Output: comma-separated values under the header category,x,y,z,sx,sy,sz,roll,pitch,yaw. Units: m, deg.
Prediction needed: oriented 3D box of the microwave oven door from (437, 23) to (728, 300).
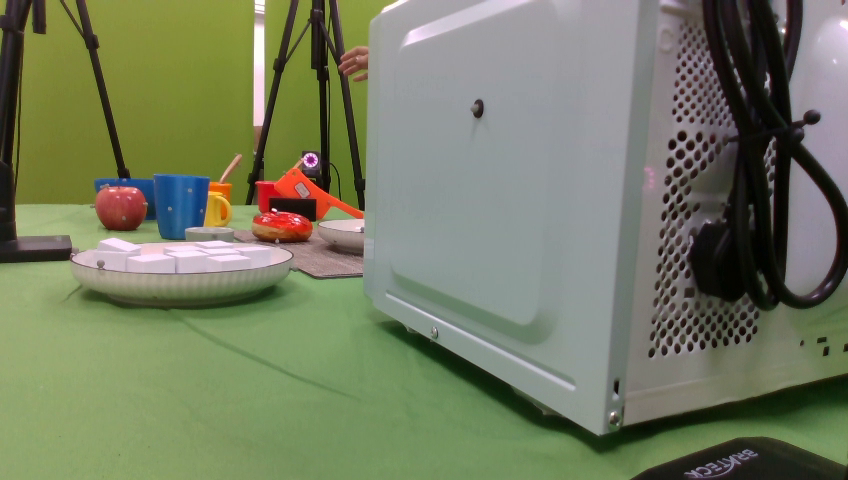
category,x,y,z,sx,sy,sz,roll,pitch,yaw
microwave oven door,0.181,-0.072,0.621,0.358,0.243,0.039,-2,8,-29

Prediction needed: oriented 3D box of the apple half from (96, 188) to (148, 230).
category,x,y,z,sx,sy,sz,roll,pitch,yaw
apple half,-0.517,-0.052,1.036,0.081,0.074,0.053,3,10,-26

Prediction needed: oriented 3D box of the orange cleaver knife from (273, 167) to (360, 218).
category,x,y,z,sx,sy,sz,roll,pitch,yaw
orange cleaver knife,-0.238,-0.091,1.381,0.212,0.077,0.012,31,0,-19

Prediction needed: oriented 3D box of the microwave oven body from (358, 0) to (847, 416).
category,x,y,z,sx,sy,sz,roll,pitch,yaw
microwave oven body,0.211,-0.047,0.474,0.444,0.260,0.324,-1,8,-28

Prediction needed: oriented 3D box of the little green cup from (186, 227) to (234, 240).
category,x,y,z,sx,sy,sz,roll,pitch,yaw
little green cup,-0.284,0.005,0.805,0.061,0.038,0.061,2,8,0

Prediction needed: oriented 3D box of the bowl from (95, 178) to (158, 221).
category,x,y,z,sx,sy,sz,roll,pitch,yaw
bowl,-0.576,-0.081,1.217,0.151,0.077,0.151,3,8,0

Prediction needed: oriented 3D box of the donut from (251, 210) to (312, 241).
category,x,y,z,sx,sy,sz,roll,pitch,yaw
donut,-0.231,-0.022,0.983,0.099,0.048,0.099,5,7,0

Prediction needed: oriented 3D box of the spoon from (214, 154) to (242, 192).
category,x,y,z,sx,sy,sz,roll,pitch,yaw
spoon,-0.439,-0.124,1.318,0.041,0.193,0.022,5,-36,16

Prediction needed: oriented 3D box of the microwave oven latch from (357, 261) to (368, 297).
category,x,y,z,sx,sy,sz,roll,pitch,yaw
microwave oven latch,-0.019,0.033,0.531,0.079,0.029,0.030,-1,7,-27

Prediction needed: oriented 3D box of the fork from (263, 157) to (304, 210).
category,x,y,z,sx,sy,sz,roll,pitch,yaw
fork,-0.345,-0.143,1.505,0.028,0.019,0.207,-4,46,29

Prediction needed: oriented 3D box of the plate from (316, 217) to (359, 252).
category,x,y,z,sx,sy,sz,roll,pitch,yaw
plate,-0.064,-0.008,0.943,0.209,0.038,0.209,3,8,0

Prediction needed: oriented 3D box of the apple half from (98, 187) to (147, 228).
category,x,y,z,sx,sy,sz,roll,pitch,yaw
apple half,-0.534,-0.059,1.071,0.082,0.081,0.032,-1,12,-25

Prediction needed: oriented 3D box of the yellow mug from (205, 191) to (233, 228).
category,x,y,z,sx,sy,sz,roll,pitch,yaw
yellow mug,-0.415,-0.057,1.131,0.130,0.064,0.100,6,8,16

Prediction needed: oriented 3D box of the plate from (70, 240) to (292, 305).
category,x,y,z,sx,sy,sz,roll,pitch,yaw
plate,-0.242,0.031,0.618,0.208,0.039,0.207,2,8,0

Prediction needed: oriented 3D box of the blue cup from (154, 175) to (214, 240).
category,x,y,z,sx,sy,sz,roll,pitch,yaw
blue cup,-0.390,-0.053,0.978,0.093,0.100,0.092,3,6,0
